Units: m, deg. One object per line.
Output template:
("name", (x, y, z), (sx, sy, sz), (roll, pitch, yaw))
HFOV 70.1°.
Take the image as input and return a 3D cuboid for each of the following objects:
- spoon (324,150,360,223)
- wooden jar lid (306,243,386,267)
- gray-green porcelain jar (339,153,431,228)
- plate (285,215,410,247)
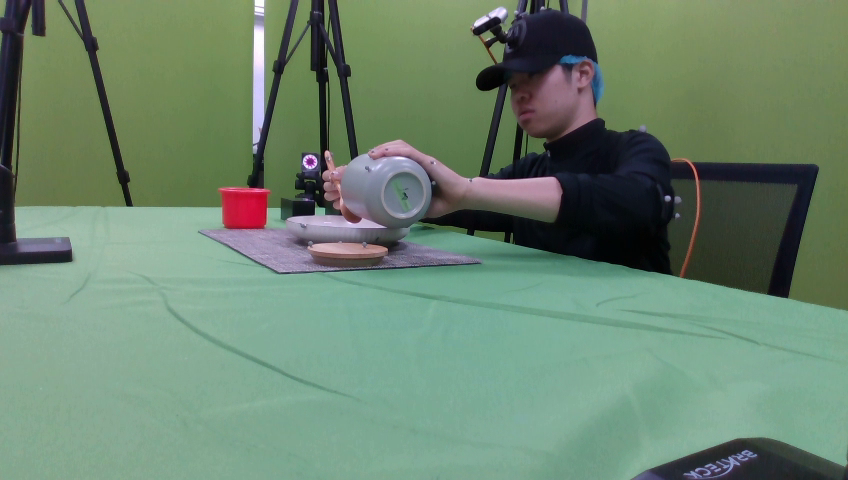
("spoon", (-0.146, -0.096, 1.030), (0.042, 0.021, 0.193), (5, 36, -32))
("wooden jar lid", (-0.105, 0.020, 0.816), (0.108, 0.020, 0.108), (1, 7, 0))
("gray-green porcelain jar", (-0.057, -0.074, 0.899), (0.106, 0.106, 0.126), (-1, 10, -27))
("plate", (-0.127, -0.015, 1.012), (0.208, 0.039, 0.207), (3, 7, 0))
